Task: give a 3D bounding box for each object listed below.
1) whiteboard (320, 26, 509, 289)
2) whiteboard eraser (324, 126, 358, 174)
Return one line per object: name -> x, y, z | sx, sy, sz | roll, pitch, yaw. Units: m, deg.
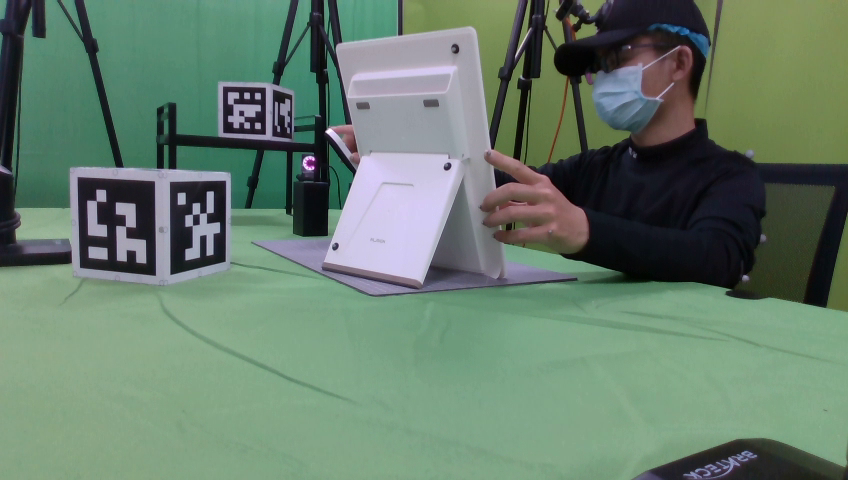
whiteboard -> -0.045, -0.076, 0.721 | 0.216, 0.305, 0.144 | 9, 29, 39
whiteboard eraser -> -0.145, -0.160, 1.075 | 0.019, 0.101, 0.041 | -39, 42, -8
